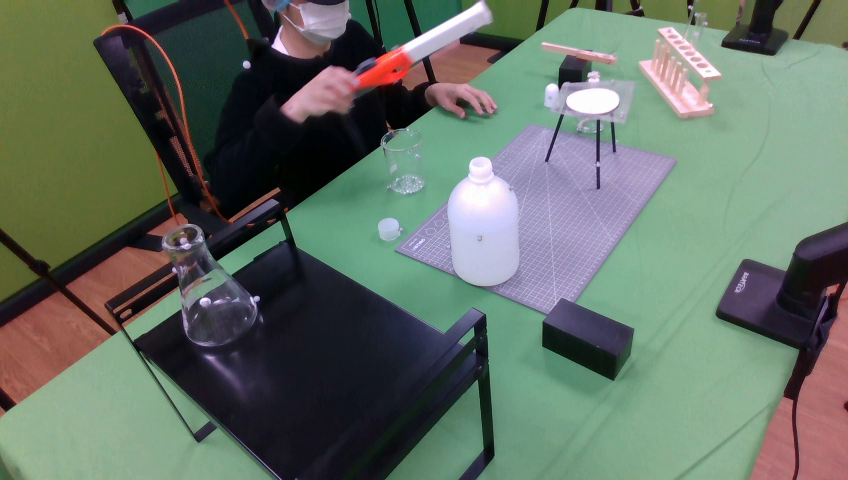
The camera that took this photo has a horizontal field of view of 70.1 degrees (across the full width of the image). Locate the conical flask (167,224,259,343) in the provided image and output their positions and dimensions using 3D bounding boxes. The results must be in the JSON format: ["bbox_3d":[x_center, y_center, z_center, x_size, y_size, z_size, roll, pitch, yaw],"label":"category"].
[{"bbox_3d":[-0.220,0.041,0.613,0.075,0.122,0.075,-5,40,4],"label":"conical flask"}]

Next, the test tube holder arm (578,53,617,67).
[{"bbox_3d":[0.376,-0.393,1.314,0.087,0.015,0.010,26,51,32],"label":"test tube holder arm"}]

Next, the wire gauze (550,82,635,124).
[{"bbox_3d":[0.285,-0.236,1.020,0.124,0.011,0.121,10,44,22],"label":"wire gauze"}]

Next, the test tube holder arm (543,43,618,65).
[{"bbox_3d":[0.345,-0.413,1.340,0.177,0.015,0.013,25,50,31],"label":"test tube holder arm"}]

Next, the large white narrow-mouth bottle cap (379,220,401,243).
[{"bbox_3d":[-0.057,-0.015,1.011,0.038,0.024,0.037,-4,40,4],"label":"large white narrow-mouth bottle cap"}]

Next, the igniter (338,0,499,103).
[{"bbox_3d":[-0.017,-0.277,0.907,0.275,0.058,0.025,-23,59,20],"label":"igniter"}]

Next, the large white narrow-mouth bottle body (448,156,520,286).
[{"bbox_3d":[0.086,-0.032,0.868,0.102,0.195,0.101,-4,40,4],"label":"large white narrow-mouth bottle body"}]

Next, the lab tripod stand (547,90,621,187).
[{"bbox_3d":[0.289,-0.184,1.062,0.148,0.132,0.147,-6,41,6],"label":"lab tripod stand"}]

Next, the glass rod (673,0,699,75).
[{"bbox_3d":[0.541,-0.427,1.246,0.008,0.200,0.008,0,48,1],"label":"glass rod"}]

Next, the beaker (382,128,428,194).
[{"bbox_3d":[-0.030,-0.142,1.095,0.073,0.101,0.084,14,44,23],"label":"beaker"}]

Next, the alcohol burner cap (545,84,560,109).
[{"bbox_3d":[0.274,-0.308,1.285,0.034,0.048,0.033,-5,42,5],"label":"alcohol burner cap"}]

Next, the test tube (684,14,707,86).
[{"bbox_3d":[0.541,-0.379,1.216,0.017,0.151,0.017,-2,44,2],"label":"test tube"}]

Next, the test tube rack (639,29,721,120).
[{"bbox_3d":[0.527,-0.351,1.262,0.067,0.085,0.241,-8,40,1],"label":"test tube rack"}]

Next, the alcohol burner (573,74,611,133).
[{"bbox_3d":[0.330,-0.270,1.177,0.078,0.119,0.077,-4,43,4],"label":"alcohol burner"}]
